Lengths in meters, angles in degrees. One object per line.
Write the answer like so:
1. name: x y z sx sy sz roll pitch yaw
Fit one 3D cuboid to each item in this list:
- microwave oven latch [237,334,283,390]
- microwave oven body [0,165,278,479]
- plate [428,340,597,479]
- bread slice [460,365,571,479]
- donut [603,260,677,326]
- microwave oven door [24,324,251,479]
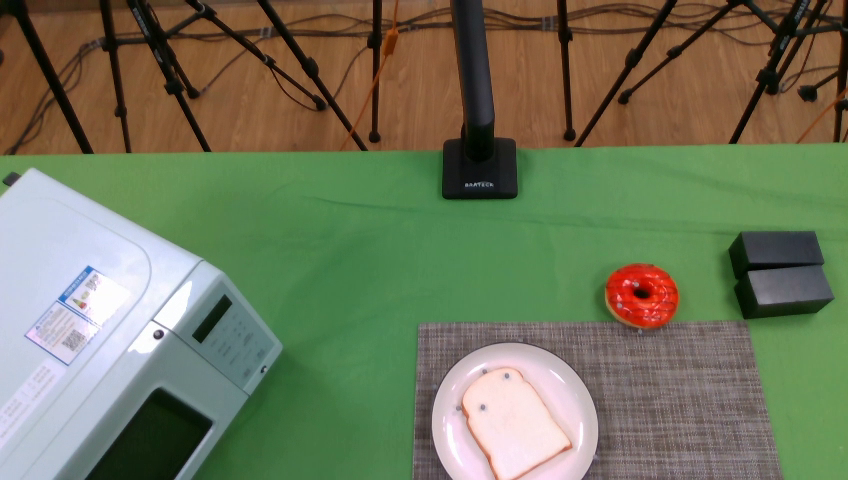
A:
1. microwave oven latch: -0.222 0.159 0.814 0.030 0.030 0.079 27 67 17
2. microwave oven body: -0.446 0.190 0.703 0.324 0.262 0.440 25 66 17
3. plate: 0.109 0.230 0.764 0.207 0.039 0.206 -2 61 3
4. bread slice: 0.106 0.225 0.769 0.105 0.019 0.130 -27 63 -11
5. donut: 0.297 0.073 0.836 0.099 0.049 0.098 -4 57 7
6. microwave oven door: -0.340 0.278 0.640 0.039 0.246 0.354 24 66 18
